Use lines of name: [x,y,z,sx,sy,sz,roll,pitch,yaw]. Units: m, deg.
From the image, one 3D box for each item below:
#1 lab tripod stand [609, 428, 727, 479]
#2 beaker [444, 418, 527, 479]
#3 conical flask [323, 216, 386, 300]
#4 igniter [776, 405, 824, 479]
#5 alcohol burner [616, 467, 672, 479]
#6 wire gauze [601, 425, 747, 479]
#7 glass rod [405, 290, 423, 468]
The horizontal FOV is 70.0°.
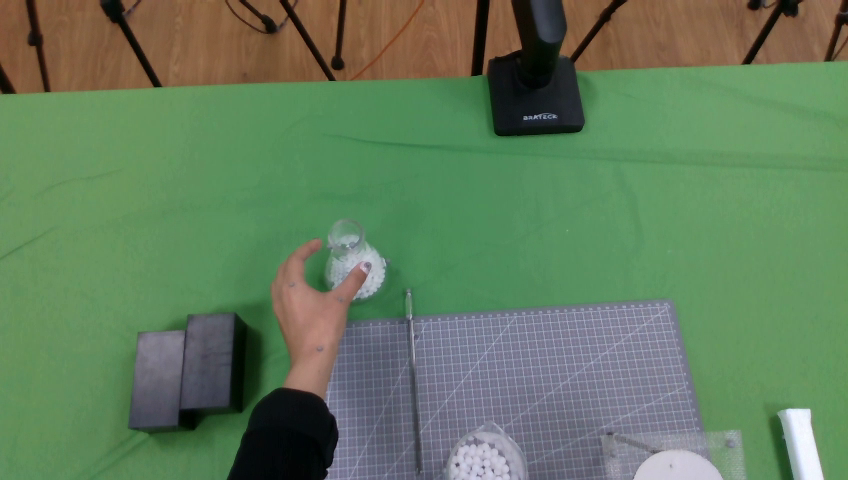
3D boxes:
lab tripod stand: [0.219,0.250,0.577,0.148,0.132,0.147,0,69,-1]
beaker: [0.057,0.225,0.602,0.074,0.101,0.083,7,67,1]
conical flask: [-0.082,0.015,0.675,0.075,0.122,0.075,0,67,-1]
igniter: [0.406,0.310,0.618,0.057,0.025,0.274,5,67,-11]
alcohol burner: [0.220,0.260,0.584,0.078,0.120,0.077,0,68,1]
wire gauze: [0.220,0.222,0.515,0.125,0.011,0.120,-1,69,-1]
glass rod: [-0.012,0.151,0.679,0.008,0.008,0.198,-4,68,-3]
